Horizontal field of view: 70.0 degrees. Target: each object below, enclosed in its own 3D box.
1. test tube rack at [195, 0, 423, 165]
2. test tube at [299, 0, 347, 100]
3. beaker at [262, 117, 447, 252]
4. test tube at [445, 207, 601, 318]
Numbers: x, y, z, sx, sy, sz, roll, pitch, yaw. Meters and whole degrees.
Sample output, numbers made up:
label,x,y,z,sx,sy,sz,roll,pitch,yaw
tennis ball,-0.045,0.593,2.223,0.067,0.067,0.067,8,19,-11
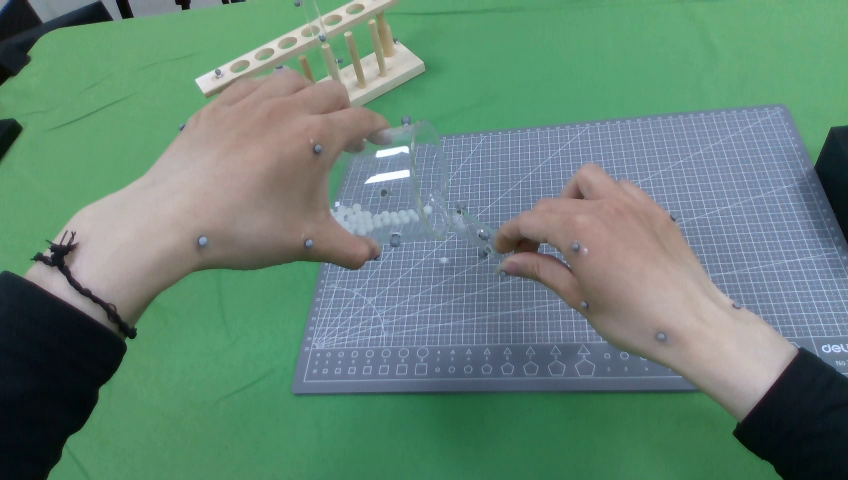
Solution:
label,x,y,z,sx,sy,sz,roll,pitch,yaw
test tube rack,-0.125,-0.191,0.698,0.242,0.086,0.066,-31,52,-12
test tube,-0.111,-0.215,0.656,0.017,0.152,0.017,-7,50,8
beaker,-0.041,-0.031,0.382,0.100,0.084,0.073,-6,79,17
test tube,0.074,0.019,0.424,0.017,0.151,0.017,-39,33,32
